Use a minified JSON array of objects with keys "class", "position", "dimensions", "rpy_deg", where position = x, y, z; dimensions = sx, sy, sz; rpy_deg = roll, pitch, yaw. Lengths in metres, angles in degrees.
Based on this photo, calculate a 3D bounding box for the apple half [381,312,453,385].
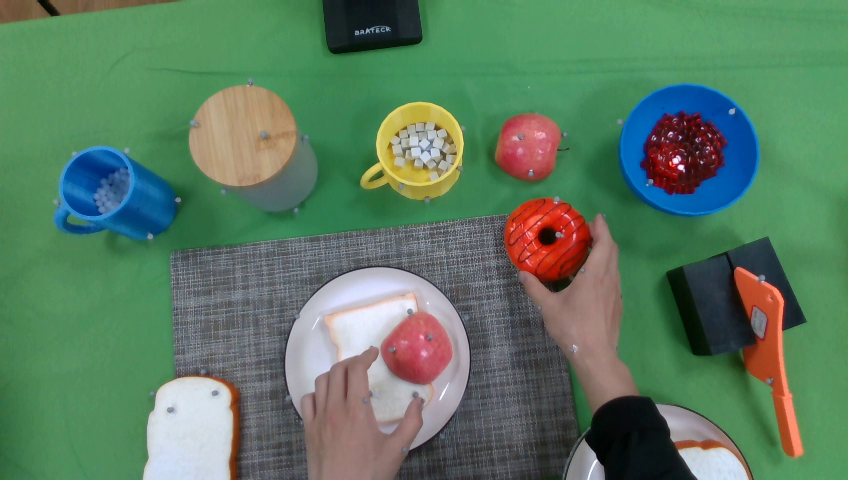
[{"class":"apple half","position":[-0.005,0.119,0.660],"dimensions":[0.081,0.033,0.081],"rpy_deg":[0,79,1]}]

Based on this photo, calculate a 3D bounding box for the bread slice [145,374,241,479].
[{"class":"bread slice","position":[-0.260,0.218,0.682],"dimensions":[0.105,0.019,0.131],"rpy_deg":[1,81,1]}]

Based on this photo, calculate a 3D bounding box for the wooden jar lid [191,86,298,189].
[{"class":"wooden jar lid","position":[-0.182,-0.103,0.620],"dimensions":[0.108,0.021,0.108],"rpy_deg":[0,78,2]}]

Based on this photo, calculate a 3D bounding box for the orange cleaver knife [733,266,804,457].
[{"class":"orange cleaver knife","position":[0.369,0.130,0.652],"dimensions":[0.012,0.077,0.212],"rpy_deg":[-18,102,-8]}]

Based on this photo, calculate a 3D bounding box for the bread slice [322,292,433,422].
[{"class":"bread slice","position":[-0.044,0.134,0.680],"dimensions":[0.107,0.018,0.134],"rpy_deg":[-18,83,-2]}]

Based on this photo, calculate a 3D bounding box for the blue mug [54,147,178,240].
[{"class":"blue mug","position":[-0.355,-0.041,0.687],"dimensions":[0.116,0.106,0.082],"rpy_deg":[-33,80,-4]}]

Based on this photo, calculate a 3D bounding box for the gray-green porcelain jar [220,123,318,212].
[{"class":"gray-green porcelain jar","position":[-0.180,-0.091,0.682],"dimensions":[0.106,0.127,0.105],"rpy_deg":[0,80,2]}]

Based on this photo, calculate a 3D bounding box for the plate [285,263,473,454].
[{"class":"plate","position":[-0.050,0.131,0.681],"dimensions":[0.207,0.039,0.207],"rpy_deg":[0,80,2]}]

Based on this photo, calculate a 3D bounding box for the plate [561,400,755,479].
[{"class":"plate","position":[0.249,0.277,0.653],"dimensions":[0.209,0.038,0.208],"rpy_deg":[0,80,1]}]

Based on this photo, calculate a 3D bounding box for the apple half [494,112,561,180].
[{"class":"apple half","position":[0.123,-0.116,0.716],"dimensions":[0.074,0.053,0.080],"rpy_deg":[15,81,7]}]

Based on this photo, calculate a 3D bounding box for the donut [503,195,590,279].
[{"class":"donut","position":[0.140,-0.003,0.696],"dimensions":[0.099,0.048,0.098],"rpy_deg":[0,81,0]}]

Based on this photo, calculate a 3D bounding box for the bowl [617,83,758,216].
[{"class":"bowl","position":[0.289,-0.094,0.695],"dimensions":[0.151,0.077,0.151],"rpy_deg":[0,81,2]}]

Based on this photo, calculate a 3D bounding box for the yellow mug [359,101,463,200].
[{"class":"yellow mug","position":[-0.018,-0.095,0.709],"dimensions":[0.131,0.064,0.099],"rpy_deg":[-30,81,-3]}]
